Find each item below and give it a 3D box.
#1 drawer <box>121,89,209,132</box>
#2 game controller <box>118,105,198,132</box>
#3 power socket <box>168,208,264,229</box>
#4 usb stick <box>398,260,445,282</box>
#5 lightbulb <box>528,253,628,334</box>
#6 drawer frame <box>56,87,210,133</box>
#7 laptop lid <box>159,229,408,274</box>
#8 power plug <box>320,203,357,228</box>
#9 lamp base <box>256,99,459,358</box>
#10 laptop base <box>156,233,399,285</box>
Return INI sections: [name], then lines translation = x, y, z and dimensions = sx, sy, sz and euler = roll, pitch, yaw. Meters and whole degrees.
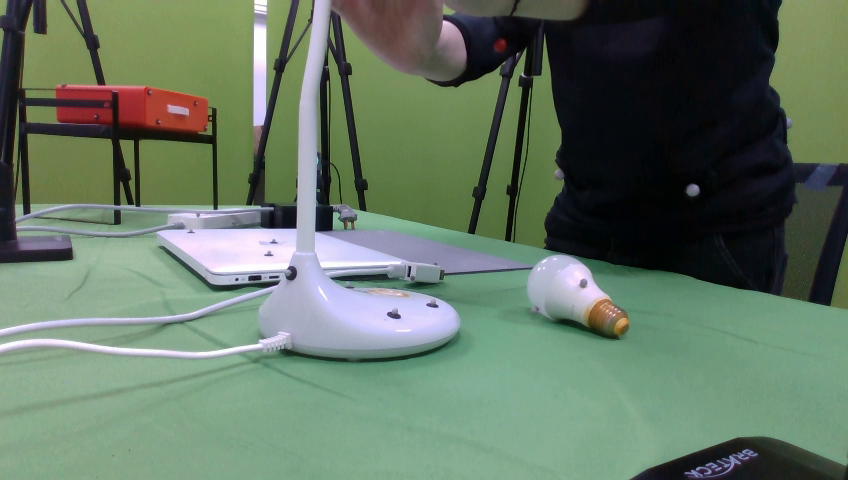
[drawer]
translation = -0.595, -0.268, 1.263
dimensions = 0.211, 0.073, 0.195
euler = 4, 8, 15
[game controller]
translation = -0.554, -0.252, 1.254
dimensions = 0.097, 0.051, 0.155
euler = 6, 11, 19
[power socket]
translation = -0.381, -0.038, 1.128
dimensions = 0.072, 0.032, 0.227
euler = 4, 8, 16
[usb stick]
translation = -0.001, 0.036, 0.696
dimensions = 0.027, 0.021, 0.059
euler = 8, 0, 43
[lightbulb]
translation = 0.137, 0.050, 0.534
dimensions = 0.060, 0.059, 0.107
euler = -3, 24, -33
[drawer frame]
translation = -0.598, -0.269, 1.261
dimensions = 0.213, 0.082, 0.202
euler = 4, 8, 14
[laptop lid]
translation = -0.201, 0.007, 0.806
dimensions = 0.243, 0.013, 0.355
euler = -1, 8, -31
[power plug]
translation = -0.170, -0.046, 1.209
dimensions = 0.073, 0.052, 0.035
euler = -6, -18, -10
[lamp base]
translation = -0.055, -0.013, 0.463
dimensions = 0.160, 0.180, 0.180
euler = 5, 11, 27
[laptop base]
translation = -0.204, 0.019, 0.806
dimensions = 0.237, 0.023, 0.352
euler = 0, 7, -33
